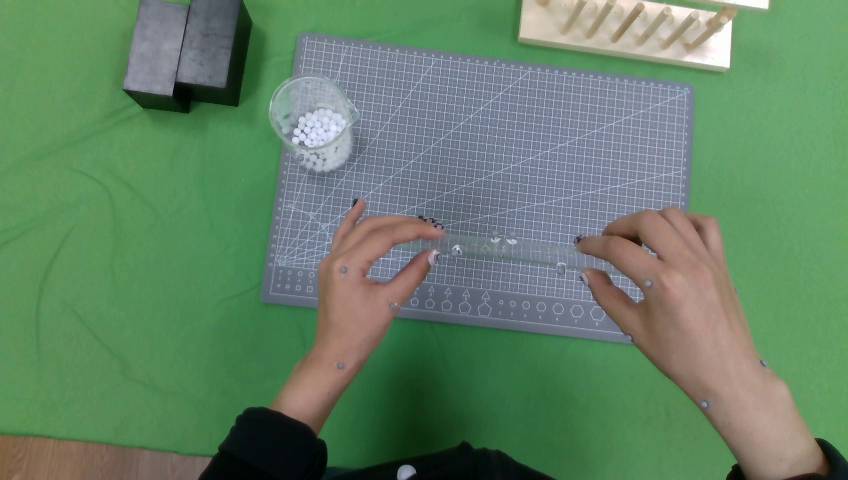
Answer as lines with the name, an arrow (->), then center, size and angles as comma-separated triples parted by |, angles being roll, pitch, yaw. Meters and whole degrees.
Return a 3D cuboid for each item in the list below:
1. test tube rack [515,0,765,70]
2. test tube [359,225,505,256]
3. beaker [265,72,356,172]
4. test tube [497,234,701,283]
test tube rack -> 0.229, -0.250, 0.659 | 0.242, 0.085, 0.066 | 7, 82, -2
test tube -> 0.001, -0.001, 0.501 | 0.149, 0.017, 0.017 | 5, 79, 39
beaker -> -0.108, -0.113, 0.609 | 0.084, 0.100, 0.074 | -1, 82, -4
test tube -> 0.129, 0.014, 0.449 | 0.150, 0.017, 0.017 | 8, 82, 3
